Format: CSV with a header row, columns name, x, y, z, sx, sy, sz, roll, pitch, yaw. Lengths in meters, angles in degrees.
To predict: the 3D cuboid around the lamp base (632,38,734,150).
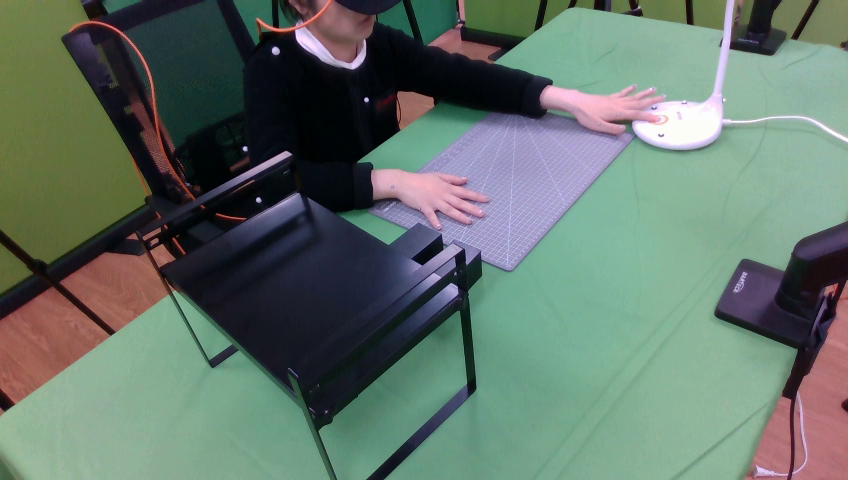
name,x,y,z,sx,sy,sz,roll,pitch,yaw
lamp base,0.486,-0.280,1.107,0.179,0.181,0.159,-5,41,-1
